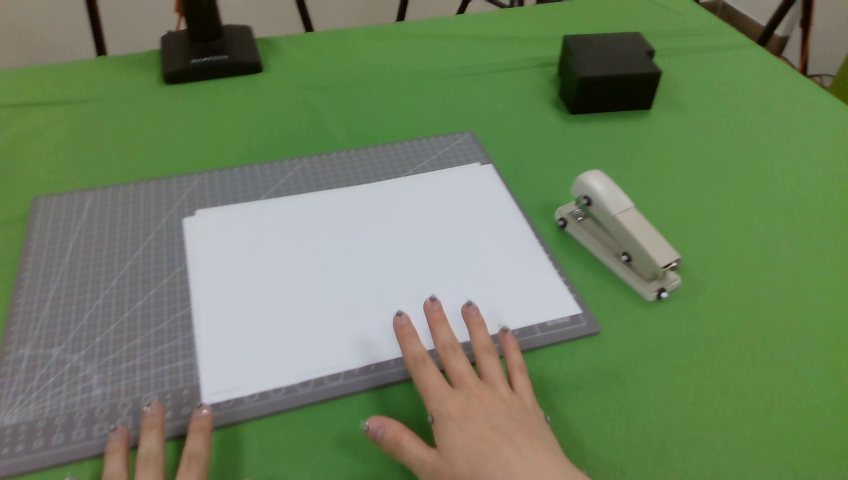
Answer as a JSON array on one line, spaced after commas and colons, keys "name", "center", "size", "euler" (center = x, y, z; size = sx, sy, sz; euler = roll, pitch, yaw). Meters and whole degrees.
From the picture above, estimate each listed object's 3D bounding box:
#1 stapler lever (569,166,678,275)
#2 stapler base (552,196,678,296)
[{"name": "stapler lever", "center": [0.172, -0.021, 0.529], "size": [0.027, 0.040, 0.117], "euler": [-25, 52, -22]}, {"name": "stapler base", "center": [0.170, -0.004, 0.548], "size": [0.041, 0.024, 0.129], "euler": [-25, 52, -22]}]
